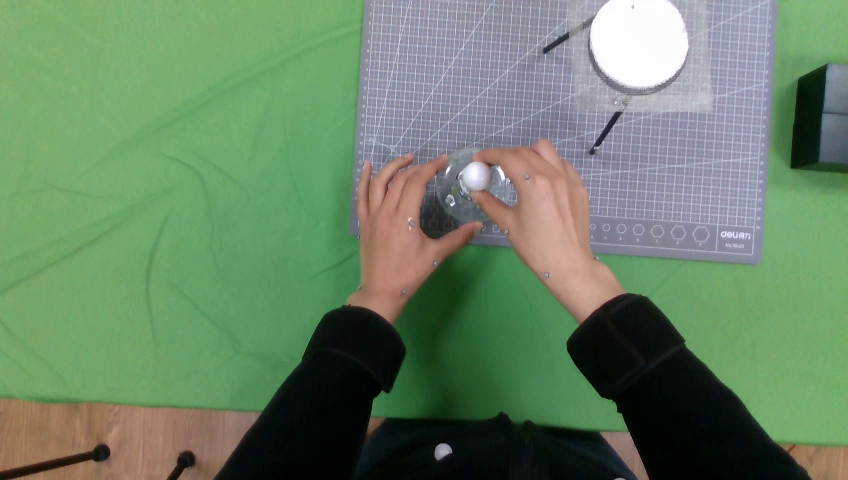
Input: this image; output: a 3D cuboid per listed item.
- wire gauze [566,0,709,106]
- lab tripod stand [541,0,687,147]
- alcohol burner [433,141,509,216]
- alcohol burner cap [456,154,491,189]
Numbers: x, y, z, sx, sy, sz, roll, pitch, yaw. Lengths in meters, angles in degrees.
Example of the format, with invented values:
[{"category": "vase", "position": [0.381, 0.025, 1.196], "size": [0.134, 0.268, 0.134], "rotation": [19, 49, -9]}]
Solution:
[{"category": "wire gauze", "position": [0.187, -0.177, 0.529], "size": [0.125, 0.011, 0.121], "rotation": [-2, 90, -1]}, {"category": "lab tripod stand", "position": [0.189, -0.177, 0.595], "size": [0.148, 0.131, 0.148], "rotation": [0, 87, 0]}, {"category": "alcohol burner", "position": [0.049, -0.064, 0.604], "size": [0.078, 0.119, 0.078], "rotation": [0, 88, -2]}, {"category": "alcohol burner cap", "position": [0.048, -0.066, 0.569], "size": [0.034, 0.048, 0.034], "rotation": [0, 90, -1]}]
